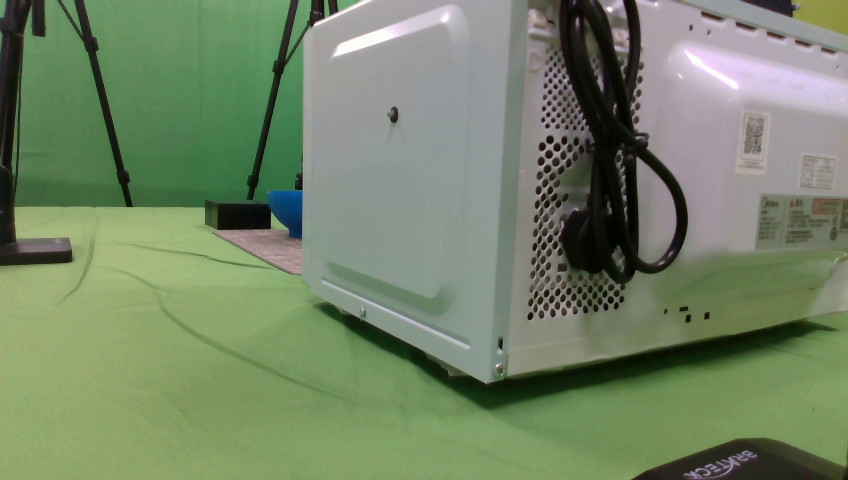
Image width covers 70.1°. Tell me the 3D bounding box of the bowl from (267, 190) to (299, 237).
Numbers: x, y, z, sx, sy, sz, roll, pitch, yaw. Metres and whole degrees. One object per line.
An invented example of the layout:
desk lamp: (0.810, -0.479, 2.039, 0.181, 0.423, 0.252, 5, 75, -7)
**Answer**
bowl: (-0.202, -0.046, 1.069, 0.151, 0.077, 0.151, 3, 7, 0)

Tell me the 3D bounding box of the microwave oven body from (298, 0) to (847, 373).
microwave oven body: (0.151, -0.055, 0.543, 0.444, 0.260, 0.324, -1, 7, -33)

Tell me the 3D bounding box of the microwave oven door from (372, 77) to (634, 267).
microwave oven door: (0.096, -0.099, 0.837, 0.355, 0.243, 0.039, 5, 8, 20)

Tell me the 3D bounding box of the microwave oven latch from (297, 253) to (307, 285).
microwave oven latch: (-0.082, 0.027, 0.583, 0.079, 0.029, 0.030, -1, 7, -33)
